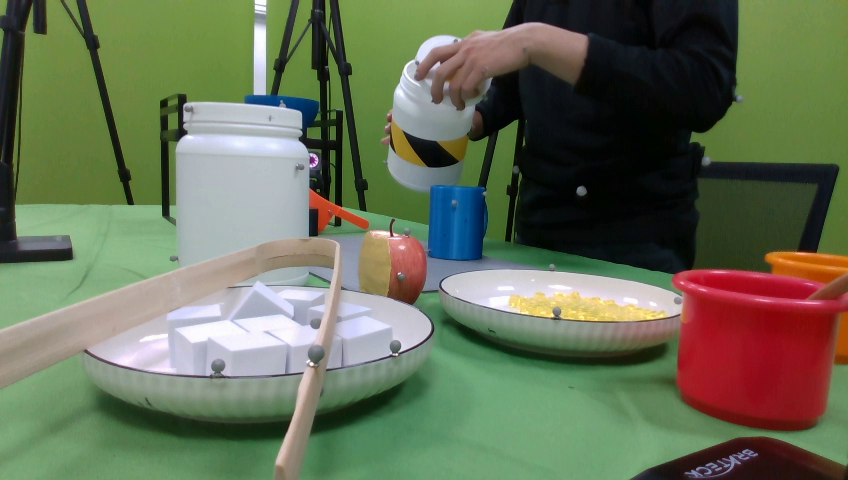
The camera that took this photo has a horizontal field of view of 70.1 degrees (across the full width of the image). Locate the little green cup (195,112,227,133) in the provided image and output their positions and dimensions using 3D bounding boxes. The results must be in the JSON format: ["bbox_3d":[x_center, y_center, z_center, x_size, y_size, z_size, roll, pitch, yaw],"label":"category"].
[{"bbox_3d":[-0.412,-0.227,1.171,0.061,0.038,0.061,3,8,0],"label":"little green cup"}]

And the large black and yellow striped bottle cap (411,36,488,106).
[{"bbox_3d":[0.038,-0.246,0.877,0.115,0.114,0.019,0,-24,-19],"label":"large black and yellow striped bottle cap"}]

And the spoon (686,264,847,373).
[{"bbox_3d":[0.214,0.032,0.328,0.042,0.021,0.193,-3,-35,-26],"label":"spoon"}]

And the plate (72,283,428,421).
[{"bbox_3d":[-0.102,0.066,0.381,0.208,0.039,0.207,2,7,0],"label":"plate"}]

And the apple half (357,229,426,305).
[{"bbox_3d":[-0.026,0.028,0.570,0.053,0.074,0.080,3,2,-28],"label":"apple half"}]

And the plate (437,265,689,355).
[{"bbox_3d":[0.114,0.057,0.517,0.209,0.038,0.209,3,8,0],"label":"plate"}]

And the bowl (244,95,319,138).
[{"bbox_3d":[-0.293,-0.251,1.249,0.151,0.077,0.151,2,7,0],"label":"bowl"}]

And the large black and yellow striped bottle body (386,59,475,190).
[{"bbox_3d":[0.010,-0.188,0.976,0.131,0.184,0.130,6,42,-5],"label":"large black and yellow striped bottle body"}]

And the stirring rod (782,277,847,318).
[{"bbox_3d":[0.344,0.019,0.461,0.014,0.006,0.176,-13,-27,-30],"label":"stirring rod"}]

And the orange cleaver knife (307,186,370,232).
[{"bbox_3d":[-0.197,-0.056,1.141,0.212,0.077,0.012,29,0,-35],"label":"orange cleaver knife"}]

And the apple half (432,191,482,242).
[{"bbox_3d":[0.048,-0.037,0.905,0.081,0.081,0.033,2,14,-1],"label":"apple half"}]

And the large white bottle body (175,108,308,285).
[{"bbox_3d":[-0.188,-0.042,0.630,0.131,0.184,0.130,2,8,0],"label":"large white bottle body"}]

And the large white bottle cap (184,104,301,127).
[{"bbox_3d":[-0.184,-0.126,0.618,0.115,0.018,0.115,2,8,0],"label":"large white bottle cap"}]

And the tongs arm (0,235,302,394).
[{"bbox_3d":[-0.157,0.038,0.351,0.028,0.028,0.388,-3,8,12],"label":"tongs arm"}]

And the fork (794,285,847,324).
[{"bbox_3d":[0.332,0.018,0.442,0.028,0.018,0.207,-1,-36,-15],"label":"fork"}]

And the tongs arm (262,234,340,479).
[{"bbox_3d":[-0.074,0.039,0.349,0.051,0.026,0.384,-2,10,-3],"label":"tongs arm"}]

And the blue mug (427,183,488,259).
[{"bbox_3d":[0.059,-0.031,0.907,0.082,0.106,0.117,9,10,42],"label":"blue mug"}]
